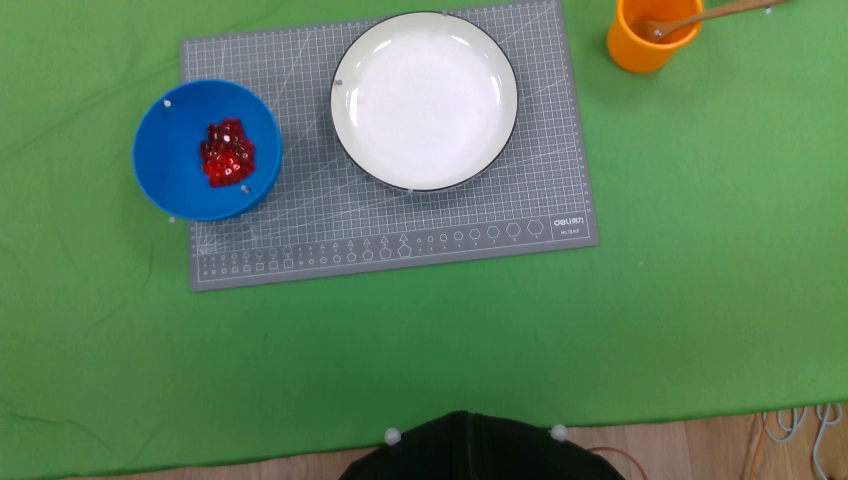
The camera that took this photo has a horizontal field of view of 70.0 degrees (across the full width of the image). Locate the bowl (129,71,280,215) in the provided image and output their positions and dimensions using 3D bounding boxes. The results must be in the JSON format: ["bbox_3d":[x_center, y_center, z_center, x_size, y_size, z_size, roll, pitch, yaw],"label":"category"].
[{"bbox_3d":[-0.221,-0.093,0.645,0.151,0.077,0.151,0,81,1],"label":"bowl"}]

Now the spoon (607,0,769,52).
[{"bbox_3d":[0.281,-0.234,0.629,0.022,0.192,0.041,13,80,-41],"label":"spoon"}]

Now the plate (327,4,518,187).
[{"bbox_3d":[-0.001,-0.158,0.674,0.209,0.038,0.208,0,81,1],"label":"plate"}]
